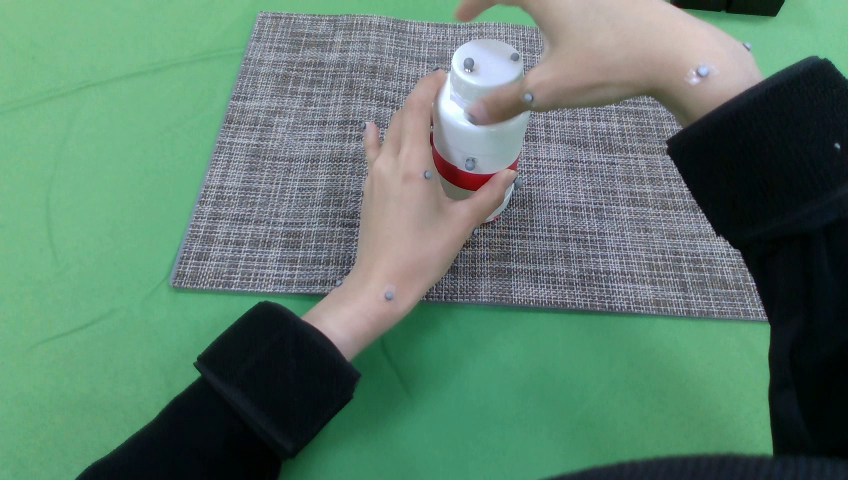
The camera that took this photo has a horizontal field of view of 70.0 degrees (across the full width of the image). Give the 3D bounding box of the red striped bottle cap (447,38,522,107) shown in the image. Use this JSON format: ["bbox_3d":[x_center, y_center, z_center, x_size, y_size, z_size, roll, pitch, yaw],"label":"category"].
[{"bbox_3d":[0.037,-0.103,0.368,0.044,0.018,0.044,2,58,-3],"label":"red striped bottle cap"}]

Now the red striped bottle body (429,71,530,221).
[{"bbox_3d":[0.036,-0.072,0.413,0.063,0.120,0.062,1,56,-1],"label":"red striped bottle body"}]
